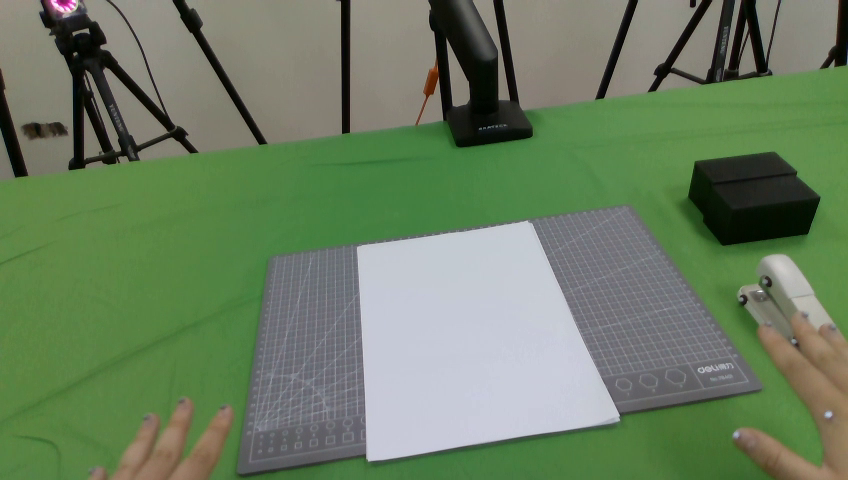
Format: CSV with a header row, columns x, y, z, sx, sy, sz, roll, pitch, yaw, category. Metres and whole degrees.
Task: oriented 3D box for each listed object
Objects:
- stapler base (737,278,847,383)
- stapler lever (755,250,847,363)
x,y,z,sx,sy,sz,roll,pitch,yaw,category
0.342,0.074,0.563,0.041,0.024,0.129,-10,39,-2,stapler base
0.341,0.055,0.546,0.027,0.040,0.117,-10,39,-2,stapler lever
